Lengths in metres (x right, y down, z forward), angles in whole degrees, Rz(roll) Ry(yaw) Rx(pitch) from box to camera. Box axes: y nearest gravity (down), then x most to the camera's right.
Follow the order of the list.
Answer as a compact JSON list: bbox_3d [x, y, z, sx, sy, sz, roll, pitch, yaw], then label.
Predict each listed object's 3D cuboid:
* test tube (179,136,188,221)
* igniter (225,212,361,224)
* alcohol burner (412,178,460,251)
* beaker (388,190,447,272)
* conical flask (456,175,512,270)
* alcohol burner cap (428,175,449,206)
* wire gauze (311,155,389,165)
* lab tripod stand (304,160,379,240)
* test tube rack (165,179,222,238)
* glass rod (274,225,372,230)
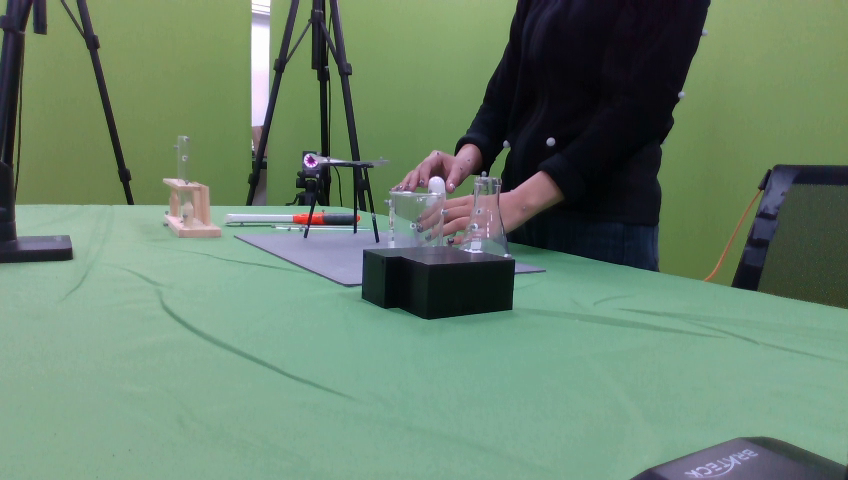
[{"bbox_3d":[-0.425,-0.108,1.070,0.017,0.150,0.017,4,9,0],"label":"test tube"},{"bbox_3d":[-0.262,-0.044,1.240,0.278,0.025,0.057,-2,-1,-31],"label":"igniter"},{"bbox_3d":[0.020,-0.042,0.959,0.078,0.119,0.078,5,9,0],"label":"alcohol burner"},{"bbox_3d":[-0.010,-0.013,0.771,0.074,0.100,0.084,3,7,4],"label":"beaker"},{"bbox_3d":[0.082,-0.025,0.801,0.075,0.122,0.075,2,7,0],"label":"conical flask"},{"bbox_3d":[0.020,-0.078,0.954,0.034,0.048,0.034,-5,9,1],"label":"alcohol burner cap"},{"bbox_3d":[-0.128,-0.137,1.042,0.122,0.011,0.124,1,8,-18],"label":"wire gauze"},{"bbox_3d":[-0.131,-0.071,1.046,0.148,0.131,0.148,4,7,0],"label":"lab tripod stand"},{"bbox_3d":[-0.423,-0.062,1.098,0.067,0.085,0.241,-2,9,-28],"label":"test tube rack"},{"bbox_3d":[-0.193,-0.024,1.176,0.201,0.008,0.008,1,7,-31],"label":"glass rod"}]
